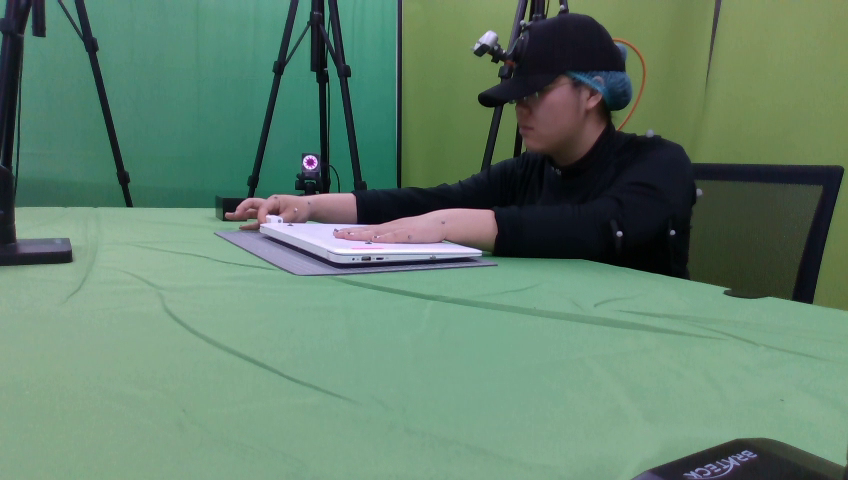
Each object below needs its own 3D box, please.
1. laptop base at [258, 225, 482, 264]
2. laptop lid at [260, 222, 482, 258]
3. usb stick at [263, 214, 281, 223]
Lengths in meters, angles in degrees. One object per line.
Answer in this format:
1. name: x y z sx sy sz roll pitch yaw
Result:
1. laptop base: -0.102 0.007 0.962 0.237 0.023 0.352 2 6 -32
2. laptop lid: -0.100 -0.003 0.963 0.243 0.013 0.355 2 7 -30
3. usb stick: -0.269 -0.030 1.081 0.021 0.027 0.059 -10 19 -28
